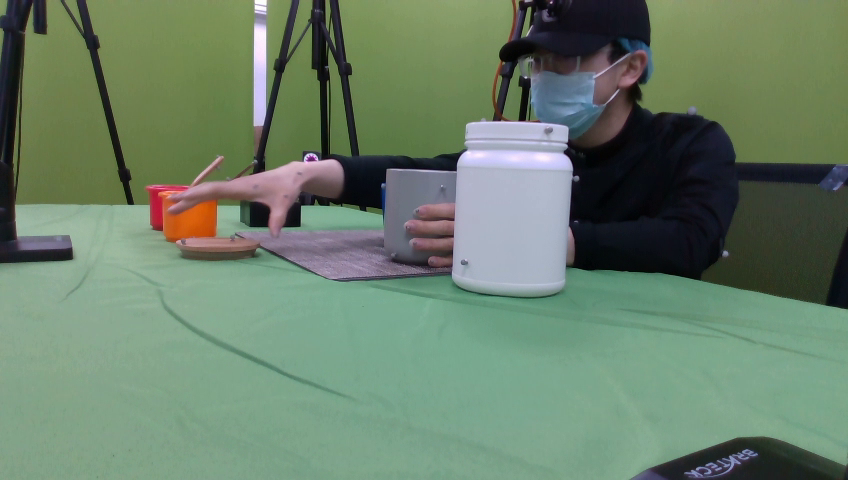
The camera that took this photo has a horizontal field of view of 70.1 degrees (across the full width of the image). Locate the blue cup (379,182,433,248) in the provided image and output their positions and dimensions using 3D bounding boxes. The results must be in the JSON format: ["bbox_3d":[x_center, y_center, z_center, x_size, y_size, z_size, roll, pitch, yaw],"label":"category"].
[{"bbox_3d":[-0.031,-0.040,0.978,0.093,0.100,0.092,3,7,0],"label":"blue cup"}]

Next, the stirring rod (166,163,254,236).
[{"bbox_3d":[-0.341,-0.066,0.967,0.176,0.006,0.014,-42,23,-9],"label":"stirring rod"}]

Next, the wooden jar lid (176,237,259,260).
[{"bbox_3d":[-0.283,0.012,0.833,0.108,0.020,0.108,1,7,0],"label":"wooden jar lid"}]

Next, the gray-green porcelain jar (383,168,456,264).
[{"bbox_3d":[-0.003,-0.034,0.834,0.106,0.126,0.106,3,7,0],"label":"gray-green porcelain jar"}]

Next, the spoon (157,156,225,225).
[{"bbox_3d":[-0.425,-0.094,1.117,0.041,0.022,0.194,3,50,30],"label":"spoon"}]

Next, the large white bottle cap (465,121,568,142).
[{"bbox_3d":[0.103,-0.120,0.677,0.115,0.018,0.115,2,7,0],"label":"large white bottle cap"}]

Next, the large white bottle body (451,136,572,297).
[{"bbox_3d":[0.099,-0.037,0.688,0.131,0.184,0.130,2,7,0],"label":"large white bottle body"}]
